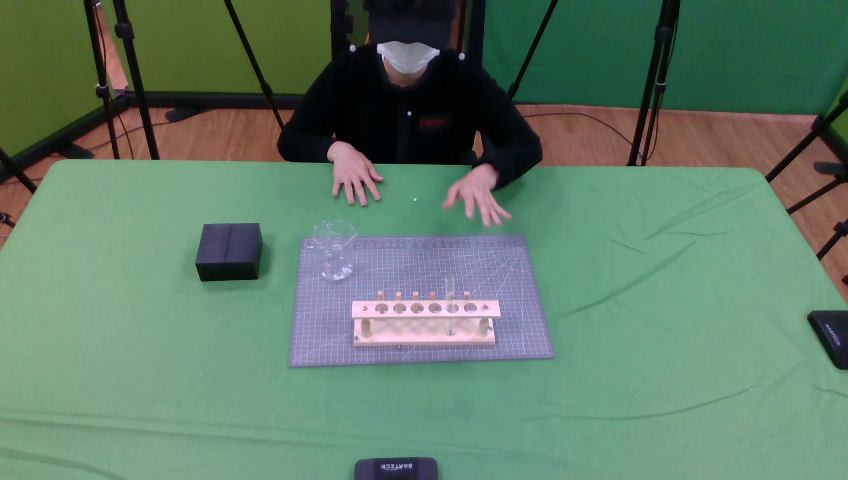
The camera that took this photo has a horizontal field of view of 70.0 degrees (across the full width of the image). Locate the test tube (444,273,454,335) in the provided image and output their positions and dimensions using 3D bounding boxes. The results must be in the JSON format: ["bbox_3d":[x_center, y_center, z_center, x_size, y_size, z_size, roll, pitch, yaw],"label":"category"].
[{"bbox_3d":[0.042,0.107,0.981,0.017,0.151,0.017,-1,47,2],"label":"test tube"}]

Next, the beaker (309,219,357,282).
[{"bbox_3d":[-0.164,0.021,1.107,0.084,0.101,0.073,-5,47,-11],"label":"beaker"}]

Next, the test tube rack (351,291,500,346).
[{"bbox_3d":[0.001,0.129,1.026,0.242,0.085,0.066,0,46,-4],"label":"test tube rack"}]
